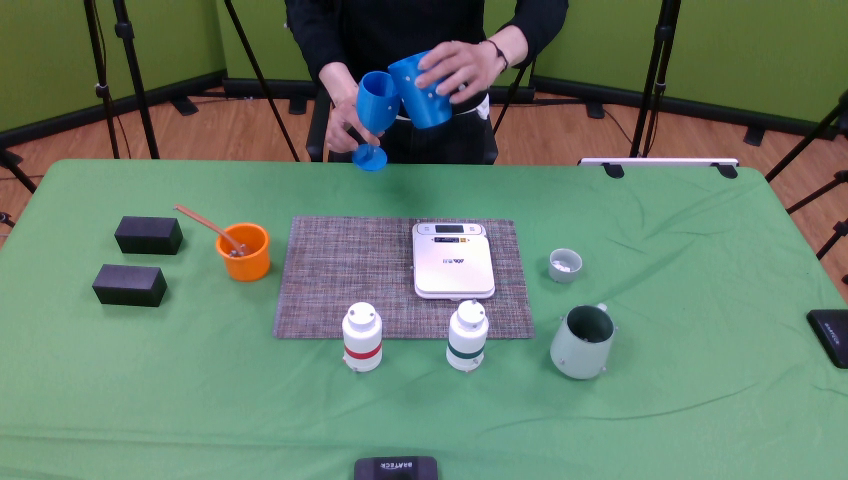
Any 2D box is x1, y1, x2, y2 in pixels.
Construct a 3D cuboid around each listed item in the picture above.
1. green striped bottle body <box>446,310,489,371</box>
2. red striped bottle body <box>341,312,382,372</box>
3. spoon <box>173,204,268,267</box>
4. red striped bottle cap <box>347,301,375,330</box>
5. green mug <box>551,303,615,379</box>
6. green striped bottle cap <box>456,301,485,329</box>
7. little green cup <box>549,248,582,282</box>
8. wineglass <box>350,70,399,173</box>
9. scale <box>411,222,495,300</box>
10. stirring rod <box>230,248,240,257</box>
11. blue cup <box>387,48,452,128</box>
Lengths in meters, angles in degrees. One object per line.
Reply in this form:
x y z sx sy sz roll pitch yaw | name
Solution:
0.070 0.155 0.984 0.063 0.120 0.063 2 46 -2 | green striped bottle body
-0.100 0.154 0.972 0.063 0.120 0.062 2 46 -1 | red striped bottle body
-0.362 -0.009 1.089 0.021 0.195 0.041 -35 31 22 | spoon
-0.097 0.116 0.934 0.044 0.018 0.044 2 49 -3 | red striped bottle cap
0.271 0.157 1.007 0.092 0.105 0.125 27 50 21 | green mug
0.073 0.116 0.943 0.044 0.020 0.044 3 46 -3 | green striped bottle cap
0.268 0.050 1.156 0.061 0.039 0.061 2 46 -1 | little green cup
-0.085 -0.199 1.027 0.074 0.173 0.073 6 53 -8 | wineglass
0.052 0.031 1.158 0.149 0.032 0.199 1 46 -4 | scale
-0.330 0.023 1.059 0.014 0.176 0.006 33 79 -12 | stirring rod
0.000 -0.228 0.921 0.092 0.100 0.092 -16 23 7 | blue cup
